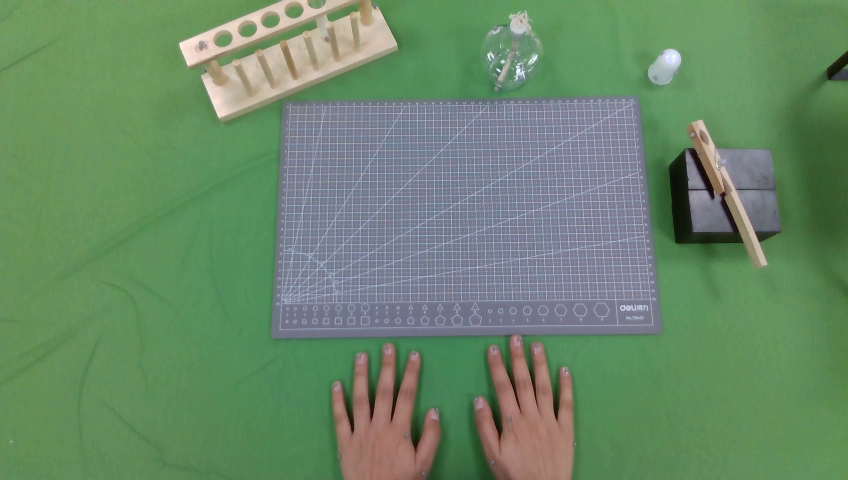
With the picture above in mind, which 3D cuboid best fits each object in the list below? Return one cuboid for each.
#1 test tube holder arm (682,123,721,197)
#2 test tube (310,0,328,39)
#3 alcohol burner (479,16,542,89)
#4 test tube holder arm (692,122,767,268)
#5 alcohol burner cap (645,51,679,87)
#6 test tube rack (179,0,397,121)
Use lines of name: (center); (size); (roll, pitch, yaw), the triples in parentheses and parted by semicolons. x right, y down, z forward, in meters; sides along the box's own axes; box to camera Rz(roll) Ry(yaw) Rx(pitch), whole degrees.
test tube holder arm: (0.319, -0.091, 0.690); (0.010, 0.015, 0.087); (-19, 78, -6)
test tube: (-0.127, -0.286, 0.702); (0.017, 0.151, 0.017); (0, 70, 1)
alcohol burner: (0.106, -0.232, 0.726); (0.078, 0.119, 0.077); (0, 77, 0)
test tube holder arm: (0.341, -0.052, 0.682); (0.013, 0.015, 0.177); (-21, 78, -7)
alcohol burner cap: (0.301, -0.216, 0.759); (0.034, 0.048, 0.033); (0, 75, 1)
test tube rack: (-0.159, -0.237, 0.741); (0.242, 0.085, 0.066); (-24, 77, -6)
